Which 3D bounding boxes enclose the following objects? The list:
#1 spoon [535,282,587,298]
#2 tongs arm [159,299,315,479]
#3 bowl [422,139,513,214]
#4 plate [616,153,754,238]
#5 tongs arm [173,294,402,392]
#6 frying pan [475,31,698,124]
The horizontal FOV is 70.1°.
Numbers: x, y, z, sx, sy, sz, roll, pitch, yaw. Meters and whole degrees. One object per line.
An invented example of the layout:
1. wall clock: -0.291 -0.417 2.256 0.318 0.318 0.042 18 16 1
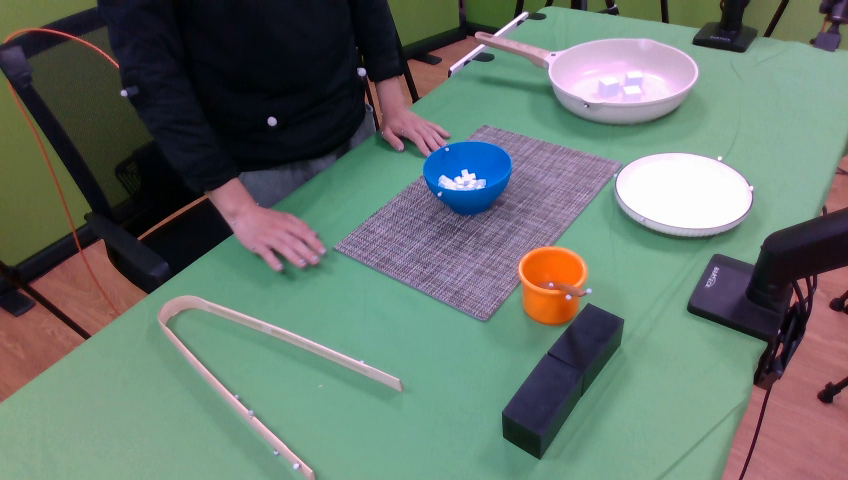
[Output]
1. spoon: 0.176 0.063 0.774 0.041 0.194 0.021 -3 85 0
2. tongs arm: -0.248 0.179 0.784 0.381 0.026 0.051 26 49 34
3. bowl: 0.075 -0.097 1.021 0.151 0.077 0.150 -4 41 4
4. plate: 0.416 -0.069 0.977 0.207 0.039 0.206 -4 40 4
5. tongs arm: -0.198 0.137 0.833 0.385 0.028 0.028 16 48 24
6. frying pan: 0.320 -0.371 1.290 0.485 0.103 0.307 28 50 23
